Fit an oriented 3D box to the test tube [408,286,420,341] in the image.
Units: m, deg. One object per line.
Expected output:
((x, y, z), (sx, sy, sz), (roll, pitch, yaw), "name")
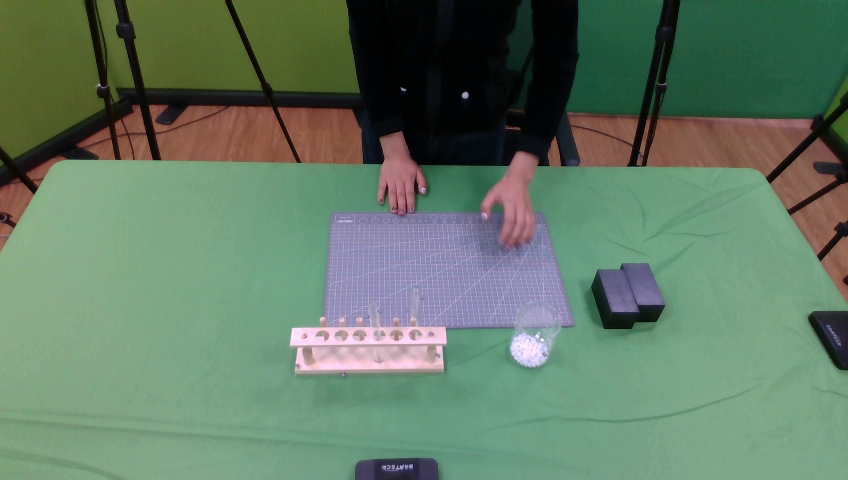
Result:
((-0.017, 0.123, 0.974), (0.017, 0.151, 0.017), (2, 48, -2), "test tube")

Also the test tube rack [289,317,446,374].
((-0.089, 0.167, 0.988), (0.242, 0.085, 0.066), (0, 46, -4), "test tube rack")

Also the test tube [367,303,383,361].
((-0.075, 0.145, 0.941), (0.017, 0.151, 0.017), (0, 49, 0), "test tube")

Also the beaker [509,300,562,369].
((0.182, 0.162, 1.005), (0.074, 0.101, 0.083), (-4, 47, -7), "beaker")
